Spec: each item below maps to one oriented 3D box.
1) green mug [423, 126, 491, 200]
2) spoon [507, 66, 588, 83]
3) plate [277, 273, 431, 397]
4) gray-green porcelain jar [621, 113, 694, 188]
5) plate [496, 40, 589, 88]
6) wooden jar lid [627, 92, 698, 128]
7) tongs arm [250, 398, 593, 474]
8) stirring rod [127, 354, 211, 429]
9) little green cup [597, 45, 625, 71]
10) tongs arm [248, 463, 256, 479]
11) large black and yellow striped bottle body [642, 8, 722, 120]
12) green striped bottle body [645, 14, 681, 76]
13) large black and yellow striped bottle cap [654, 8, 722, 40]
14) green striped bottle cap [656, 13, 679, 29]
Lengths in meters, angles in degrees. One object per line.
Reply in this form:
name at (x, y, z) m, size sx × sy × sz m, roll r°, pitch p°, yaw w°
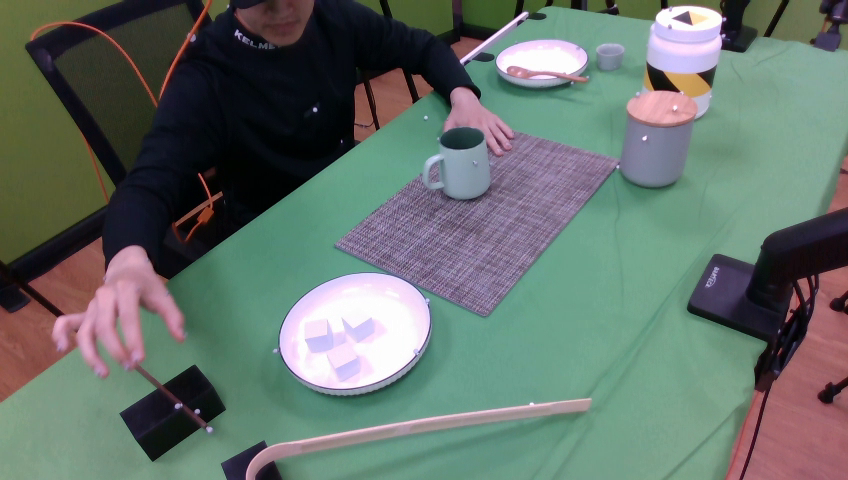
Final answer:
green mug at (0.055, -0.125, 1.039) m, size 0.126 × 0.105 × 0.091 m, roll -25°, pitch 44°, yaw -19°
spoon at (0.265, -0.357, 1.311) m, size 0.192 × 0.022 × 0.042 m, roll 18°, pitch 47°, yaw 38°
plate at (-0.091, 0.129, 0.821) m, size 0.207 × 0.039 × 0.206 m, roll -4°, pitch 40°, yaw 4°
gray-green porcelain jar at (0.390, -0.161, 1.020) m, size 0.106 × 0.127 × 0.105 m, roll -4°, pitch 41°, yaw 4°
plate at (0.269, -0.397, 1.381) m, size 0.209 × 0.038 × 0.208 m, roll -4°, pitch 41°, yaw 4°
wooden jar lid at (0.384, -0.207, 0.979) m, size 0.108 × 0.021 × 0.108 m, roll -6°, pitch 39°, yaw 5°
tongs arm at (0.008, 0.212, 0.675) m, size 0.389 × 0.028 × 0.028 m, roll -5°, pitch 46°, yaw -11°
stirring rod at (-0.311, 0.181, 0.732) m, size 0.175 × 0.014 × 0.006 m, roll 25°, pitch 53°, yaw 31°
little green cup at (0.422, -0.413, 1.375) m, size 0.061 × 0.039 × 0.061 m, roll -3°, pitch 41°, yaw 3°
tongs arm at (0.012, 0.262, 0.615) m, size 0.385 × 0.026 × 0.050 m, roll 3°, pitch 42°, yaw -2°
large black and yellow striped bottle body at (0.493, -0.334, 1.161) m, size 0.131 × 0.185 × 0.130 m, roll -4°, pitch 41°, yaw 4°
green striped bottle body at (0.520, -0.424, 1.312) m, size 0.063 × 0.120 × 0.063 m, roll -4°, pitch 40°, yaw 4°
large black and yellow striped bottle cap at (0.483, -0.397, 1.108) m, size 0.115 × 0.019 × 0.114 m, roll -3°, pitch 41°, yaw 3°
green striped bottle cap at (0.515, -0.463, 1.278) m, size 0.044 × 0.020 × 0.044 m, roll -6°, pitch 42°, yaw 6°
